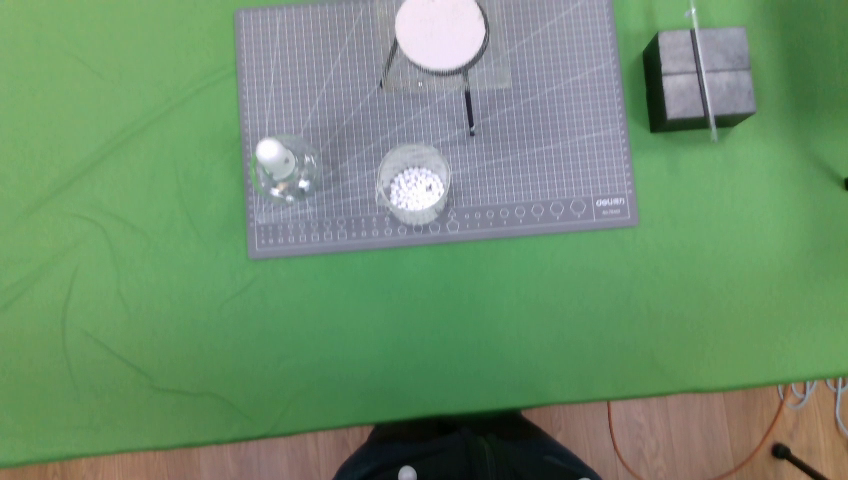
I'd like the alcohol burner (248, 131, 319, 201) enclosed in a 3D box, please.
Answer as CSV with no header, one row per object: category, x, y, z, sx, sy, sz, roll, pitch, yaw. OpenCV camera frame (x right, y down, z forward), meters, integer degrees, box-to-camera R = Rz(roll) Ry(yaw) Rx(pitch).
alcohol burner,-0.153,-0.083,0.647,0.078,0.119,0.077,0,84,-1

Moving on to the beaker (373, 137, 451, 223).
beaker,-0.014,-0.057,0.653,0.084,0.100,0.074,-32,84,-3

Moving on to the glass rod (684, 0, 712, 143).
glass rod,0.303,-0.205,0.673,0.008,0.008,0.199,-6,85,-1

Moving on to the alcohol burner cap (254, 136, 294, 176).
alcohol burner cap,-0.154,-0.087,0.611,0.034,0.048,0.033,-1,78,4

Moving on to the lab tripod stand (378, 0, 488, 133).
lab tripod stand,0.018,-0.198,0.652,0.148,0.132,0.148,0,81,1

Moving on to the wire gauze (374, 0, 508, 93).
wire gauze,0.015,-0.202,0.585,0.125,0.011,0.121,-4,84,-1
